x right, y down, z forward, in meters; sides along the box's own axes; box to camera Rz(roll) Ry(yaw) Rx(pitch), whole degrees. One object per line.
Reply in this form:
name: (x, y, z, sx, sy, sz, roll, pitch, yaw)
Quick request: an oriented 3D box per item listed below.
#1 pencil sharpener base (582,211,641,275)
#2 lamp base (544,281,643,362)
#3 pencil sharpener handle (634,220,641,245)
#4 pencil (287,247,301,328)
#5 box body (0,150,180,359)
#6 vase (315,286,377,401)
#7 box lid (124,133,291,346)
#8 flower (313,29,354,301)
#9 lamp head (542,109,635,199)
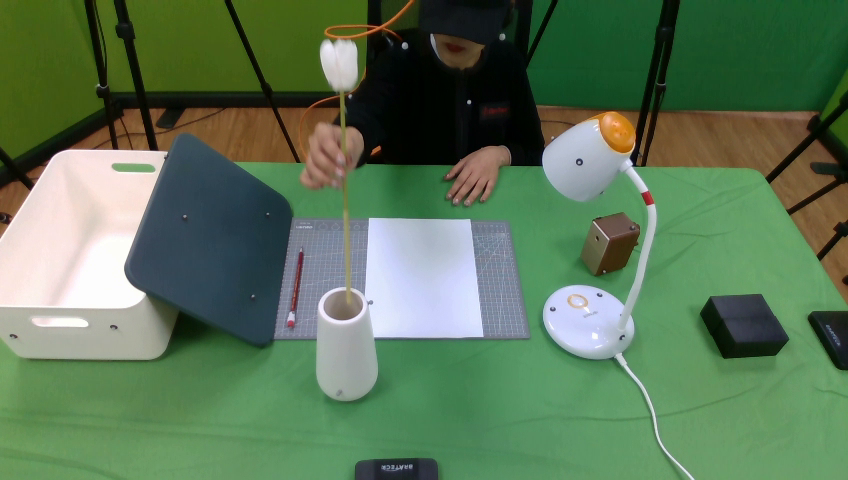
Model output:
pencil sharpener base: (0.357, 0.005, 1.156, 0.077, 0.107, 0.061, -15, 48, -18)
lamp base: (0.304, 0.095, 1.014, 0.161, 0.181, 0.178, -24, 54, -24)
pencil sharpener handle: (0.405, -0.015, 1.161, 0.031, 0.068, 0.035, -15, 43, -18)
pencil: (-0.236, 0.080, 1.106, 0.012, 0.012, 0.193, 0, 45, -4)
box body: (-0.541, 0.021, 1.041, 0.254, 0.161, 0.361, 1, 46, -3)
vase: (-0.119, 0.159, 0.911, 0.098, 0.201, 0.097, 2, 47, -2)
box lid: (-0.356, -0.012, 1.064, 0.015, 0.265, 0.369, -33, 39, 26)
flower: (-0.108, -0.085, 0.797, 0.044, 0.362, 0.038, -2, 19, 2)
lamp head: (0.253, -0.131, 0.893, 0.113, 0.123, 0.112, 10, 66, -24)
